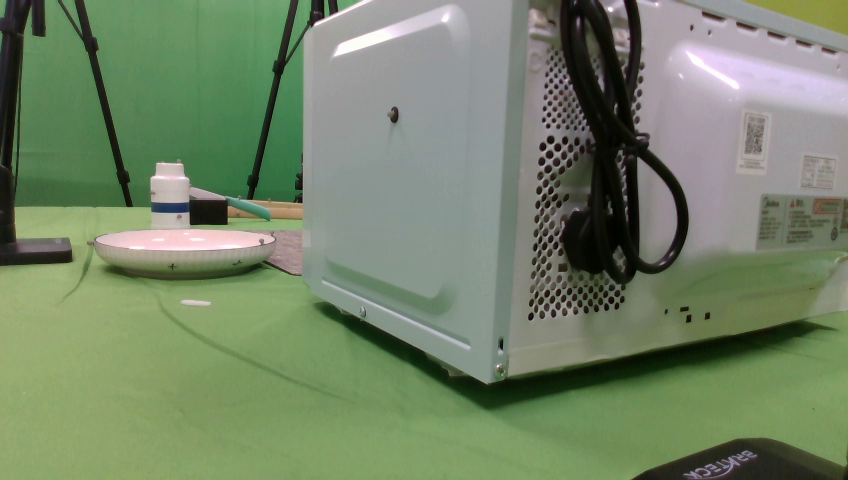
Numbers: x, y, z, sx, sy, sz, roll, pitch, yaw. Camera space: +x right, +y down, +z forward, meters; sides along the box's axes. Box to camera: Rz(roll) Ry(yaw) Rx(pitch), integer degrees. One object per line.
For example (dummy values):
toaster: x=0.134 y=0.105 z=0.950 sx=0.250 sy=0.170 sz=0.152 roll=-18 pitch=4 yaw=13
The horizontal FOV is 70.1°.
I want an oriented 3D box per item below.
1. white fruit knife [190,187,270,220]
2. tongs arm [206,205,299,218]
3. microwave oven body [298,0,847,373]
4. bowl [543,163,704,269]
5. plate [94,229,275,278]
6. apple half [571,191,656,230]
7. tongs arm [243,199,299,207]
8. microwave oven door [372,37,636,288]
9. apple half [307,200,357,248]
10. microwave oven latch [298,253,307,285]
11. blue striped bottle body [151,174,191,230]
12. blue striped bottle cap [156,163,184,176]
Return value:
white fruit knife: x=-0.413 y=-0.081 z=1.270 sx=0.208 sy=0.027 sz=0.016 roll=18 pitch=14 yaw=-41
tongs arm: x=-0.302 y=-0.065 z=1.407 sx=0.389 sy=0.028 sz=0.028 roll=1 pitch=4 yaw=-15
microwave oven body: x=0.151 y=-0.055 z=0.542 sx=0.444 sy=0.260 sz=0.324 roll=-1 pitch=7 yaw=-33
bowl: x=0.181 y=-0.020 z=0.585 sx=0.151 sy=0.077 sz=0.151 roll=13 pitch=7 yaw=-1
plate: x=-0.291 y=0.016 z=0.749 sx=0.208 sy=0.039 sz=0.207 roll=2 pitch=7 yaw=0
apple half: x=0.181 y=-0.030 z=0.584 sx=0.081 sy=0.033 sz=0.081 roll=9 pitch=-5 yaw=1
tongs arm: x=-0.309 y=-0.079 z=1.487 sx=0.385 sy=0.026 sz=0.050 roll=3 pitch=7 yaw=-2
microwave oven door: x=0.110 y=-0.080 z=0.686 sx=0.358 sy=0.243 sz=0.039 roll=-2 pitch=9 yaw=-33
apple half: x=-0.135 y=-0.024 z=0.941 sx=0.053 sy=0.074 sz=0.081 roll=13 pitch=9 yaw=38
microwave oven latch: x=-0.081 y=0.027 z=0.582 sx=0.079 sy=0.029 sz=0.030 roll=-2 pitch=7 yaw=-33
blue striped bottle body: x=-0.439 y=-0.071 z=1.052 sx=0.063 sy=0.120 sz=0.063 roll=2 pitch=7 yaw=0
blue striped bottle cap: x=-0.438 y=-0.122 z=1.045 sx=0.044 sy=0.020 sz=0.044 roll=5 pitch=6 yaw=0
